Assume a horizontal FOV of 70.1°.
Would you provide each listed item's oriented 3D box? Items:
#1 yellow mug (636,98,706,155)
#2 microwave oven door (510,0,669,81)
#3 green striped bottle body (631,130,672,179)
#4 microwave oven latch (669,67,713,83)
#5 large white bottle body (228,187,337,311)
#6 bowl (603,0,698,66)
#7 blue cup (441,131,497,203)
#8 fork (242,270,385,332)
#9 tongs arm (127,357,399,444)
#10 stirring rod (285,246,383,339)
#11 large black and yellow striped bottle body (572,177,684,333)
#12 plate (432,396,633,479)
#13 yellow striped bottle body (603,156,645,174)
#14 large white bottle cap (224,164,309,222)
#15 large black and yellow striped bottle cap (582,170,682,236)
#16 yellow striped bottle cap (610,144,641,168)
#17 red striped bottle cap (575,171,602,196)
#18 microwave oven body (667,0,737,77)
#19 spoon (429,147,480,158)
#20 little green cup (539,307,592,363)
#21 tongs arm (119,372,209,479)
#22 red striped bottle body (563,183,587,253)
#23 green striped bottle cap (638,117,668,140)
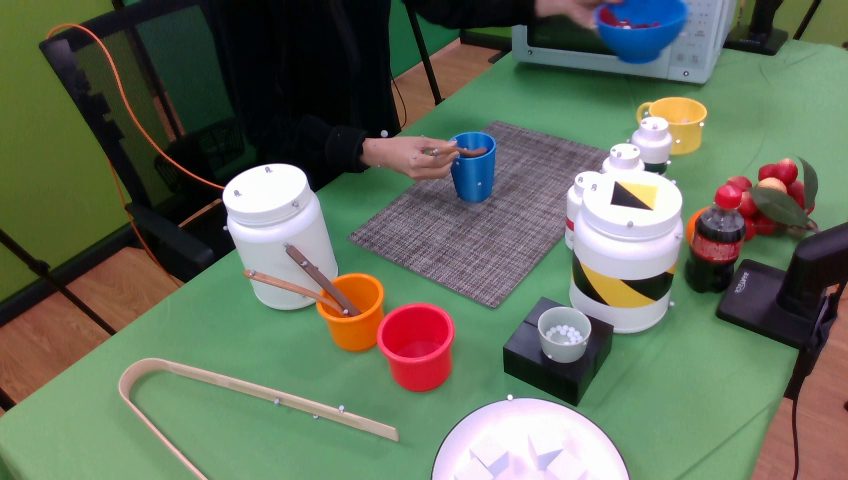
[{"bbox_3d":[0.453,-0.217,1.128,0.100,0.064,0.129,-34,46,-27],"label":"yellow mug"},{"bbox_3d":[0.353,-0.478,1.290,0.353,0.245,0.039,15,45,25],"label":"microwave oven door"},{"bbox_3d":[0.375,-0.140,1.007,0.063,0.120,0.063,-5,40,4],"label":"green striped bottle body"},{"bbox_3d":[0.556,-0.349,1.261,0.078,0.029,0.030,16,46,27],"label":"microwave oven latch"},{"bbox_3d":[-0.207,-0.002,0.883,0.130,0.185,0.130,-4,40,4],"label":"large white bottle body"},{"bbox_3d":[0.380,-0.348,1.026,0.151,0.077,0.150,-7,39,6],"label":"bowl"},{"bbox_3d":[0.084,-0.121,1.039,0.092,0.100,0.092,-5,41,5],"label":"blue cup"},{"bbox_3d":[-0.142,0.082,0.802,0.209,0.018,0.028,28,38,-26],"label":"fork"},{"bbox_3d":[-0.213,0.205,0.755,0.382,0.026,0.051,12,46,23],"label":"tongs arm"},{"bbox_3d":[-0.121,0.071,0.819,0.176,0.006,0.014,44,52,-6],"label":"stirring rod"},{"bbox_3d":[0.262,0.017,0.788,0.131,0.185,0.130,-5,40,4],"label":"large black and yellow striped bottle body"},{"bbox_3d":[0.112,0.261,0.634,0.209,0.038,0.208,-5,40,4],"label":"plate"},{"bbox_3d":[0.313,-0.089,0.956,0.063,0.121,0.062,-4,40,4],"label":"yellow striped bottle body"},{"bbox_3d":[-0.215,-0.066,0.829,0.115,0.018,0.114,-4,40,4],"label":"large white bottle cap"},{"bbox_3d":[0.252,-0.048,0.735,0.115,0.019,0.114,-3,40,3],"label":"large black and yellow striped bottle cap"},{"bbox_3d":[0.307,-0.128,0.923,0.044,0.019,0.044,-6,40,5],"label":"yellow striped bottle cap"},{"bbox_3d":[0.242,-0.081,0.876,0.044,0.018,0.044,-5,44,5],"label":"red striped bottle cap"},{"bbox_3d":[0.462,-0.552,1.368,0.439,0.261,0.326,15,45,26],"label":"microwave oven body"},{"bbox_3d":[0.053,-0.140,0.963,0.041,0.021,0.195,-5,2,29],"label":"spoon"},{"bbox_3d":[0.168,0.115,0.721,0.061,0.039,0.061,-4,42,4],"label":"little green cup"},{"bbox_3d":[-0.258,0.257,0.700,0.384,0.028,0.028,24,55,34],"label":"tongs arm"},{"bbox_3d":[0.246,-0.041,0.910,0.063,0.120,0.062,-2,38,2],"label":"red striped bottle body"},{"bbox_3d":[0.369,-0.180,0.974,0.044,0.020,0.044,-4,41,4],"label":"green striped bottle cap"}]
